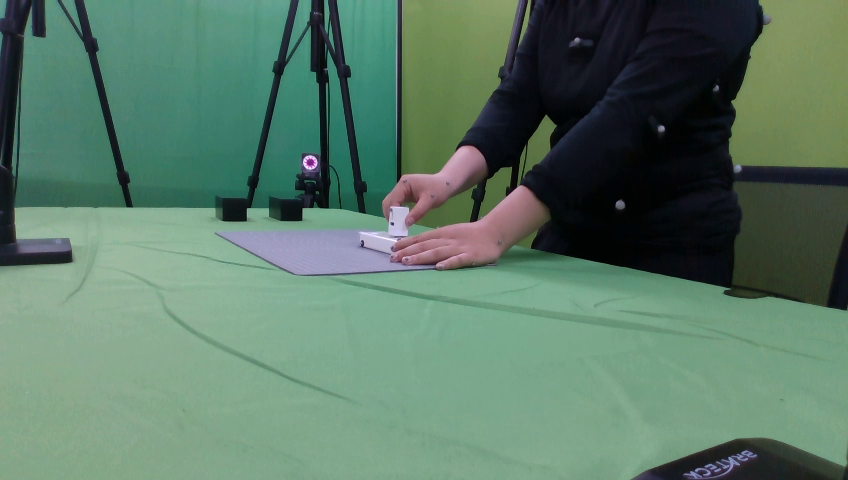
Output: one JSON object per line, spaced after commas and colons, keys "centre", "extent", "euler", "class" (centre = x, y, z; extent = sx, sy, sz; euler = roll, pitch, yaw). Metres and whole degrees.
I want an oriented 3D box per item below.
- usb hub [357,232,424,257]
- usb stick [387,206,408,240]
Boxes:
{"centre": [-0.055, 0.005, 0.947], "extent": [0.050, 0.025, 0.124], "euler": [-3, 9, -35], "class": "usb hub"}
{"centre": [-0.041, -0.022, 0.932], "extent": [0.027, 0.059, 0.021], "euler": [-5, 15, -37], "class": "usb stick"}
